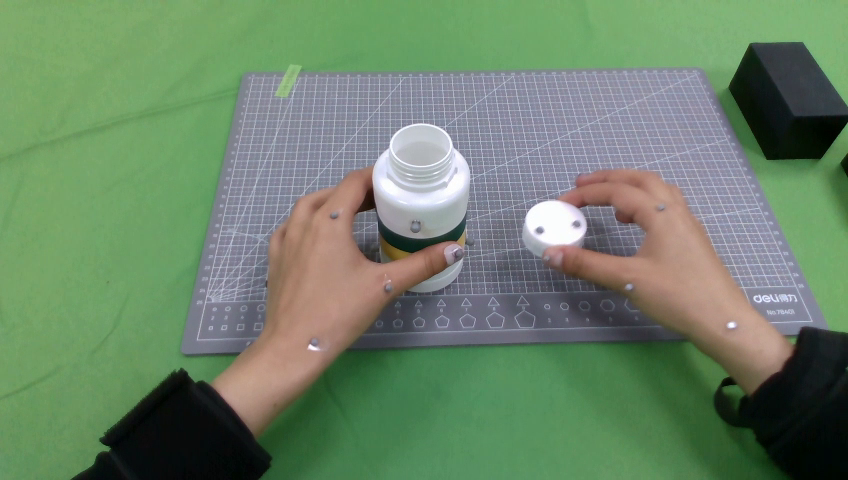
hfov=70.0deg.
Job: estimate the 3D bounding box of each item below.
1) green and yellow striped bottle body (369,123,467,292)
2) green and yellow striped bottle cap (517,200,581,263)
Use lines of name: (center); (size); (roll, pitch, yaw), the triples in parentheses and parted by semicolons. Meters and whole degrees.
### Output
green and yellow striped bottle body: (-0.004, -0.022, 0.408); (0.063, 0.121, 0.062); (0, 53, 0)
green and yellow striped bottle cap: (0.090, -0.007, 0.436); (0.045, 0.020, 0.045); (0, 52, 0)
